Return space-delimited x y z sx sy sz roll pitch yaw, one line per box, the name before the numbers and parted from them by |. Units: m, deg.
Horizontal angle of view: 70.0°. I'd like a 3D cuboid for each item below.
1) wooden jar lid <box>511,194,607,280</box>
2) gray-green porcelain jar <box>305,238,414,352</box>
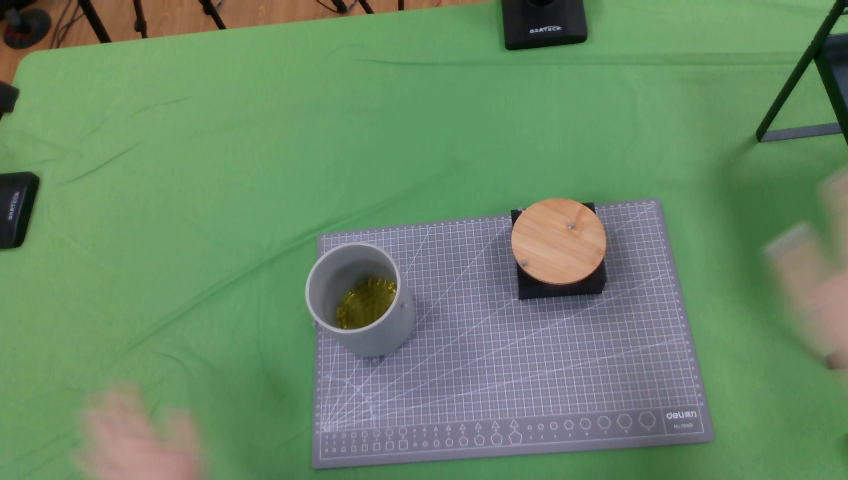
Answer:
wooden jar lid | 0.156 -0.002 0.706 0.108 0.021 0.107 -3 67 8
gray-green porcelain jar | -0.068 0.069 0.703 0.106 0.127 0.105 -3 66 7
